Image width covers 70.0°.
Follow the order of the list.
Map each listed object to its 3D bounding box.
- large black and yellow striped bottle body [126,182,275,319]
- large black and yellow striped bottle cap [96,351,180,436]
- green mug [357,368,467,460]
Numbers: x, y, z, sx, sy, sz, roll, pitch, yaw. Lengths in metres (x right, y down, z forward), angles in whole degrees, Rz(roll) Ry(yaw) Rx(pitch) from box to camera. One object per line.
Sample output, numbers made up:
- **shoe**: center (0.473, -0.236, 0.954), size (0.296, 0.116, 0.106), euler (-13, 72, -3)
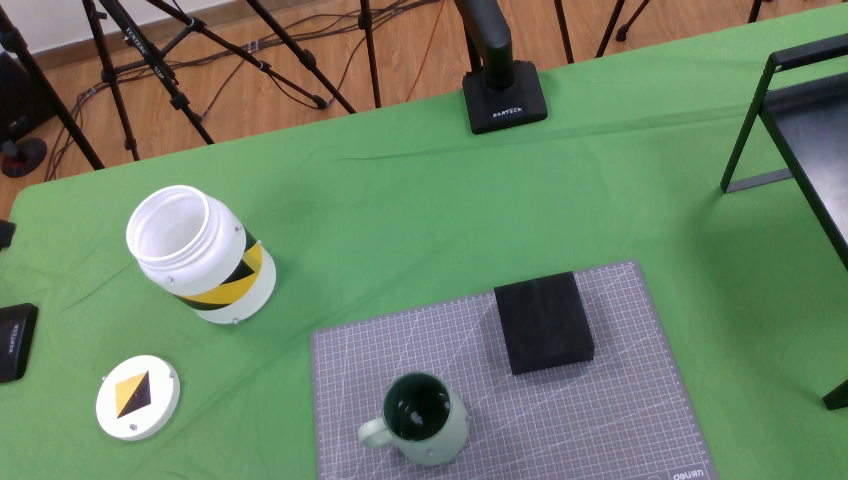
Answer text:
- **large black and yellow striped bottle body**: center (-0.296, 0.016, 0.815), size (0.130, 0.186, 0.129), euler (-5, 61, 9)
- **large black and yellow striped bottle cap**: center (-0.392, 0.208, 0.829), size (0.115, 0.019, 0.114), euler (-5, 60, 9)
- **green mug**: center (-0.016, 0.206, 0.698), size (0.125, 0.106, 0.091), euler (-20, 60, 1)
